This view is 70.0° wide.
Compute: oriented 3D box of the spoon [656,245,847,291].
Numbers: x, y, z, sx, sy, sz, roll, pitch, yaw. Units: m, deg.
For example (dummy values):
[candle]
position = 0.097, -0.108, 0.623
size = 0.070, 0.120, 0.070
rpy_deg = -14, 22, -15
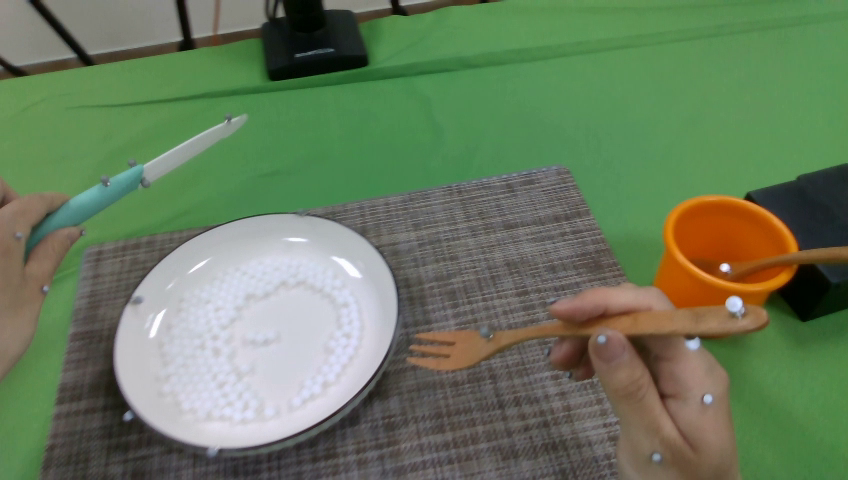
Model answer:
[spoon]
position = 0.247, 0.016, 0.417
size = 0.041, 0.193, 0.022
rpy_deg = -39, 102, -30

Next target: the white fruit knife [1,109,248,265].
[white fruit knife]
position = -0.219, -0.049, 0.460
size = 0.016, 0.027, 0.207
rpy_deg = 43, 63, 16

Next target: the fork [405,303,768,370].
[fork]
position = 0.062, 0.049, 0.308
size = 0.206, 0.019, 0.028
rpy_deg = -18, 40, 47

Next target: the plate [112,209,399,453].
[plate]
position = -0.121, 0.063, 0.459
size = 0.209, 0.038, 0.207
rpy_deg = -1, 49, 2
